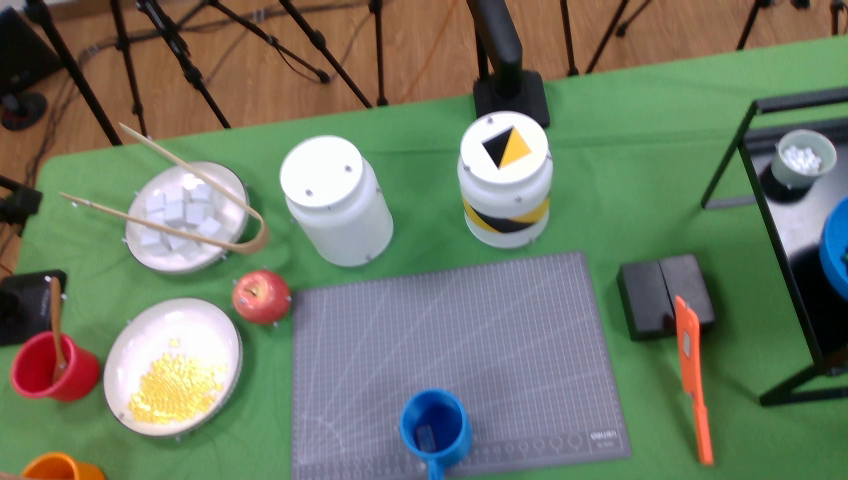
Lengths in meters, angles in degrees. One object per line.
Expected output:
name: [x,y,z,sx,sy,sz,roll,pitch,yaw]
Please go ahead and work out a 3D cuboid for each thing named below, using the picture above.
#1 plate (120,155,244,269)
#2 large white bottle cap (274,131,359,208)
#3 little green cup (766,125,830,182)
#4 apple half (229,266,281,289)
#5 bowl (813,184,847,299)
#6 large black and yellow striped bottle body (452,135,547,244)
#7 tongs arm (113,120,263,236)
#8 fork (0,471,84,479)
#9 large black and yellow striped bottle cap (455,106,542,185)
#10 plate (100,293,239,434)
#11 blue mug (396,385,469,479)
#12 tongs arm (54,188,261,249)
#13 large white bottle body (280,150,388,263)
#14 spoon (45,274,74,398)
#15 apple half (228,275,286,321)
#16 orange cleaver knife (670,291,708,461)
plate: [-0.394,-0.044,1.003,0.207,0.039,0.206,-3,65,7]
large white bottle cap: [-0.145,-0.096,0.815,0.115,0.018,0.114,-3,64,7]
little green cup: [0.434,-0.100,0.709,0.061,0.039,0.061,-3,65,8]
apple half: [-0.256,0.060,0.914,0.081,0.082,0.032,-22,69,-2]
bowl: [0.475,0.017,0.629,0.151,0.077,0.150,-3,65,7]
large black and yellow striped bottle body: [0.109,-0.088,0.871,0.130,0.185,0.129,-3,64,7]
tongs arm: [-0.396,-0.113,1.001,0.384,0.028,0.028,31,66,23]
fork: [-0.536,0.312,0.793,0.209,0.018,0.028,26,63,-28]
large black and yellow striped bottle cap: [0.098,-0.126,0.796,0.115,0.019,0.114,-2,66,6]
plate: [-0.369,0.181,0.894,0.209,0.038,0.207,-3,65,7]
blue mug: [0.012,0.252,0.766,0.082,0.107,0.115,-1,65,8]
tongs arm: [-0.436,-0.045,0.973,0.383,0.027,0.050,17,65,18]
large white bottle body: [-0.133,-0.059,0.891,0.130,0.186,0.129,-3,64,7]
spoon: [-0.533,0.141,0.876,0.041,0.021,0.195,11,112,13]
apple half: [-0.243,0.093,0.898,0.081,0.075,0.053,-20,68,-5]
orange cleaver knife: [0.335,0.172,0.771,0.012,0.077,0.211,-9,95,4]
